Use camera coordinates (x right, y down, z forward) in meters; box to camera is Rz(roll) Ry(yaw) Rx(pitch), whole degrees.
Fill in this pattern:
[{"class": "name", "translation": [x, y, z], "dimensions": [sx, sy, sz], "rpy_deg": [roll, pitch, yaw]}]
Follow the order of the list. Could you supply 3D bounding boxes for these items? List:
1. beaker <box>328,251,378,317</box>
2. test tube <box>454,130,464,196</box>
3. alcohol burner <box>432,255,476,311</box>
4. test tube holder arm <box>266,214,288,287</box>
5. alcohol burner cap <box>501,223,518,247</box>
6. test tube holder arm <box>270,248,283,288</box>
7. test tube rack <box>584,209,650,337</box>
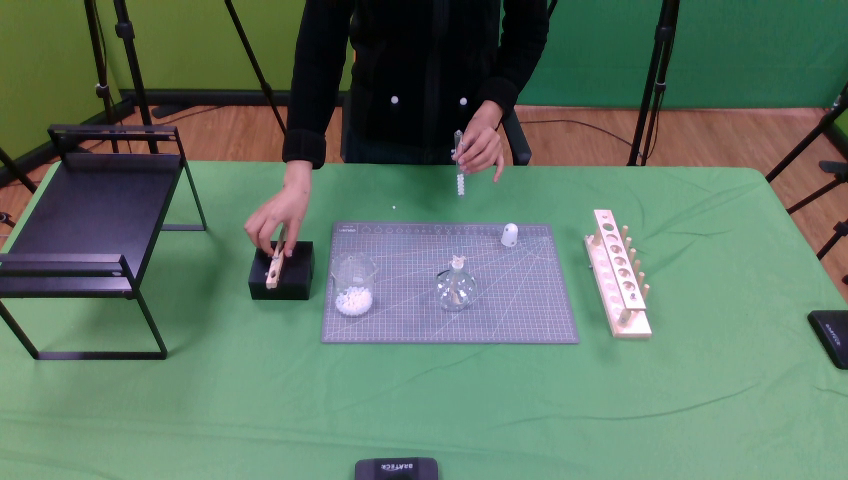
[{"class": "beaker", "translation": [-0.123, 0.079, 1.055], "dimensions": [0.084, 0.101, 0.073], "rpy_deg": [0, 47, -5]}, {"class": "test tube", "translation": [0.067, -0.143, 1.152], "dimensions": [0.017, 0.151, 0.017], "rpy_deg": [-3, 45, 3]}, {"class": "alcohol burner", "translation": [0.055, 0.070, 1.068], "dimensions": [0.078, 0.119, 0.077], "rpy_deg": [3, 45, -3]}, {"class": "test tube holder arm", "translation": [-0.266, 0.016, 1.099], "dimensions": [0.013, 0.015, 0.177], "rpy_deg": [7, 43, -9]}, {"class": "alcohol burner cap", "translation": [0.172, -0.013, 1.207], "dimensions": [0.034, 0.048, 0.033], "rpy_deg": [1, 45, -1]}, {"class": "test tube holder arm", "translation": [-0.259, 0.048, 1.068], "dimensions": [0.010, 0.015, 0.087], "rpy_deg": [9, 43, -8]}, {"class": "test tube rack", "translation": [0.365, 0.056, 1.129], "dimensions": [0.067, 0.085, 0.240], "rpy_deg": [1, 46, -3]}]
